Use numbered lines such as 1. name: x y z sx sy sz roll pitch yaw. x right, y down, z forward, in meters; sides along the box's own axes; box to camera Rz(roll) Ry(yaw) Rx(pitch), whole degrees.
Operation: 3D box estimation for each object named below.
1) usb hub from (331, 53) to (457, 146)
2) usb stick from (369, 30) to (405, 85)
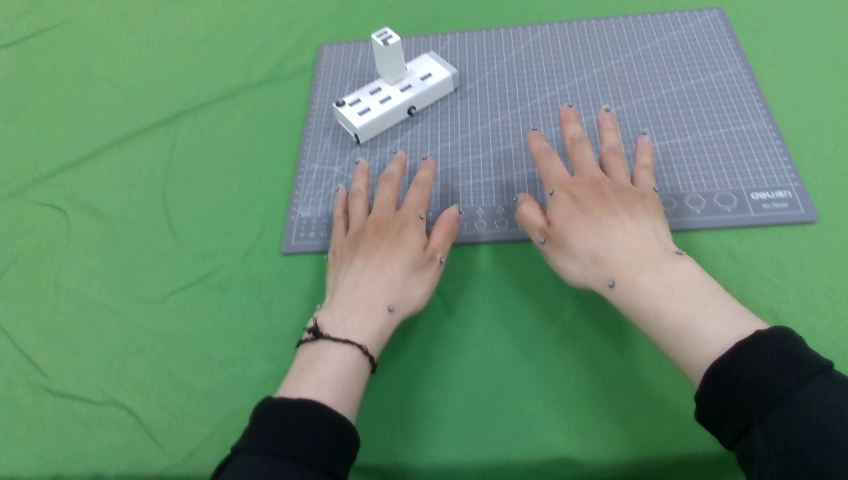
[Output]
1. usb hub: -0.030 -0.146 0.620 0.125 0.025 0.049 -33 56 -16
2. usb stick: -0.035 -0.176 0.606 0.021 0.060 0.027 -35 55 -16
